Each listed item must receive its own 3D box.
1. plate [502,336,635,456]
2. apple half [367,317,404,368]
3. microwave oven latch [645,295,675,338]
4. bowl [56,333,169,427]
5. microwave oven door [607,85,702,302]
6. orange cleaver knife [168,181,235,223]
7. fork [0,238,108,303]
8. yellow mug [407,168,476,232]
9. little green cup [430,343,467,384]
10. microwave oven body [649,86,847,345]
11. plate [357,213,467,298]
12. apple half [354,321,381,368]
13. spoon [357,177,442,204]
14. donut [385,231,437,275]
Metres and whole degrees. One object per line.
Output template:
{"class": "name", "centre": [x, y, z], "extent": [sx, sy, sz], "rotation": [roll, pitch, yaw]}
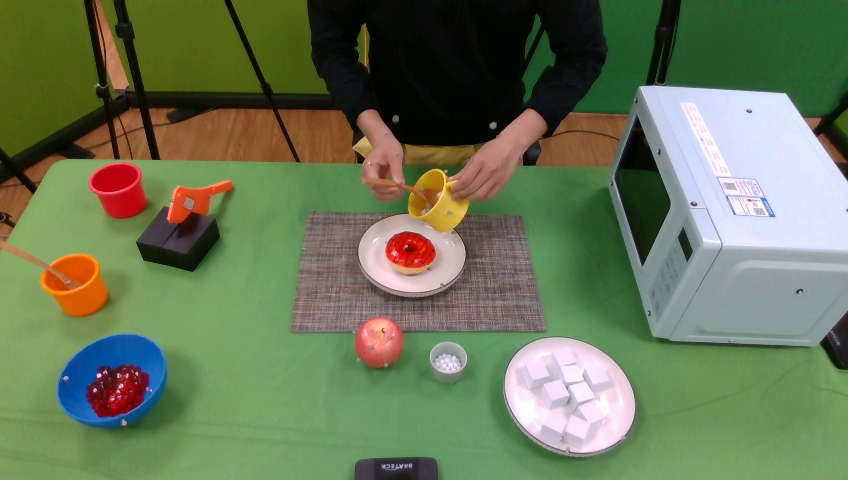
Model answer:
{"class": "plate", "centre": [0.225, 0.248, 0.963], "extent": [0.208, 0.039, 0.206], "rotation": [2, 46, -2]}
{"class": "apple half", "centre": [-0.061, 0.167, 0.998], "extent": [0.053, 0.075, 0.080], "rotation": [-11, 44, -20]}
{"class": "microwave oven latch", "centre": [0.412, 0.134, 1.061], "extent": [0.030, 0.029, 0.078], "rotation": [3, 45, 0]}
{"class": "bowl", "centre": [-0.456, 0.222, 0.911], "extent": [0.151, 0.077, 0.150], "rotation": [3, 46, -2]}
{"class": "microwave oven door", "centre": [0.423, -0.094, 1.140], "extent": [0.039, 0.245, 0.353], "rotation": [2, 46, -1]}
{"class": "orange cleaver knife", "centre": [-0.436, -0.078, 1.196], "extent": [0.012, 0.077, 0.211], "rotation": [16, 15, 10]}
{"class": "fork", "centre": [-0.633, 0.048, 1.017], "extent": [0.208, 0.018, 0.028], "rotation": [40, 41, -27]}
{"class": "yellow mug", "centre": [0.037, -0.077, 1.095], "extent": [0.064, 0.131, 0.099], "rotation": [30, 50, -35]}
{"class": "little green cup", "centre": [0.039, 0.203, 0.994], "extent": [0.061, 0.039, 0.061], "rotation": [2, 46, -2]}
{"class": "microwave oven body", "centre": [0.568, -0.053, 1.118], "extent": [0.326, 0.261, 0.439], "rotation": [2, 45, -1]}
{"class": "plate", "centre": [-0.023, 0.032, 1.150], "extent": [0.209, 0.038, 0.208], "rotation": [2, 46, -2]}
{"class": "apple half", "centre": [-0.097, 0.176, 0.985], "extent": [0.033, 0.081, 0.080], "rotation": [-12, 48, -20]}
{"class": "spoon", "centre": [-0.036, -0.091, 1.062], "extent": [0.194, 0.021, 0.041], "rotation": [12, 42, -42]}
{"class": "donut", "centre": [-0.025, 0.024, 1.141], "extent": [0.099, 0.048, 0.098], "rotation": [3, 44, -3]}
